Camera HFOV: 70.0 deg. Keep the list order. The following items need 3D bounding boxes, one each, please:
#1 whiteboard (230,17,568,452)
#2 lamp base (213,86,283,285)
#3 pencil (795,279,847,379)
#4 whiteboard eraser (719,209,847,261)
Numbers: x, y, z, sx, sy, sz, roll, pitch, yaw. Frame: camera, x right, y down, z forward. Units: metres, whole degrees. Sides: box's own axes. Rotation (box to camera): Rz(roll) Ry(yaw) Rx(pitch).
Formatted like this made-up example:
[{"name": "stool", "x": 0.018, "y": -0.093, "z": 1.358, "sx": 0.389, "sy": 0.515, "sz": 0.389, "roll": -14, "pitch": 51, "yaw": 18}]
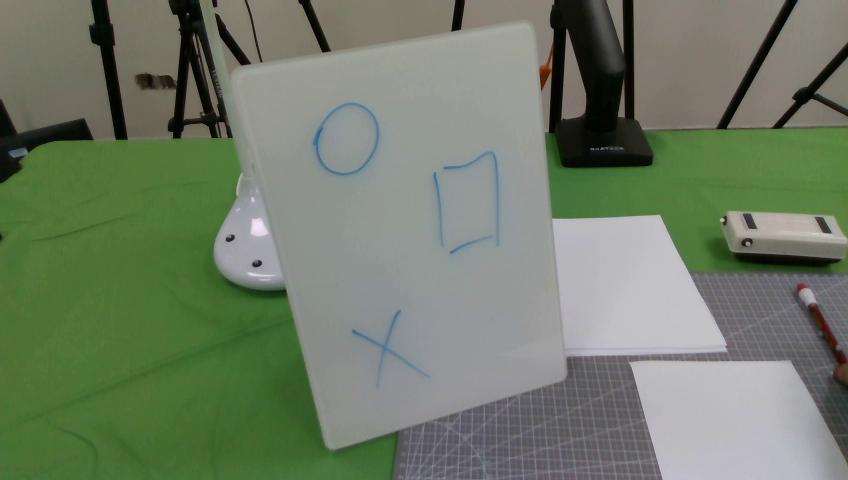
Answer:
[{"name": "whiteboard", "x": -0.016, "y": -0.013, "z": 0.525, "sx": 0.217, "sy": 0.307, "sz": 0.142, "roll": -13, "pitch": 20, "yaw": -11}, {"name": "lamp base", "x": -0.175, "y": -0.068, "z": 0.663, "sx": 0.160, "sy": 0.182, "sz": 0.177, "roll": -32, "pitch": 44, "yaw": -32}, {"name": "pencil", "x": 0.367, "y": 0.103, "z": 0.534, "sx": 0.012, "sy": 0.012, "sz": 0.192, "roll": 1, "pitch": 40, "yaw": 6}, {"name": "whiteboard eraser", "x": 0.382, "y": -0.005, "z": 0.650, "sx": 0.112, "sy": 0.042, "sz": 0.055, "roll": 4, "pitch": 39, "yaw": 10}]
